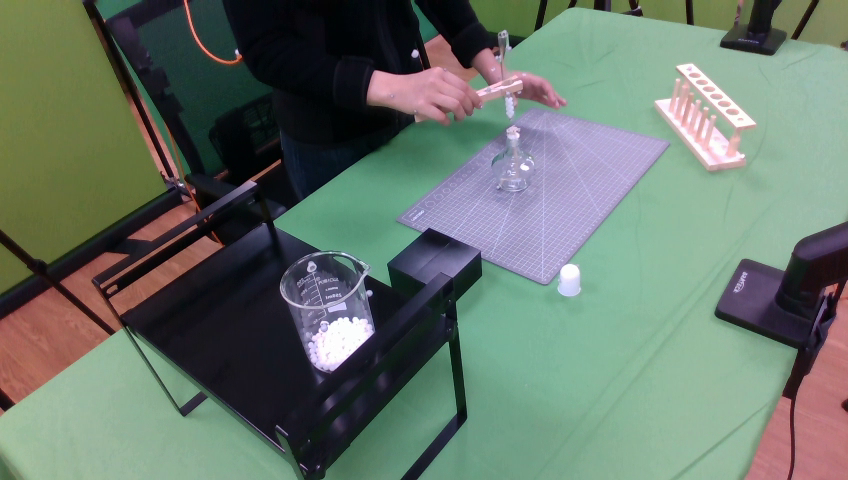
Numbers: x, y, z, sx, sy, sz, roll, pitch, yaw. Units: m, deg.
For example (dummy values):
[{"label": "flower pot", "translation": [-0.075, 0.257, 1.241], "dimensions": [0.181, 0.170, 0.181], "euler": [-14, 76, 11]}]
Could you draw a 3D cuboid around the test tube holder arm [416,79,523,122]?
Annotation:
[{"label": "test tube holder arm", "translation": [0.072, -0.218, 0.943], "dimensions": [0.179, 0.015, 0.013], "euler": [-20, 43, -7]}]

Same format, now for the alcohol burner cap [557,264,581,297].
[{"label": "alcohol burner cap", "translation": [0.208, 0.055, 0.866], "dimensions": [0.034, 0.048, 0.033], "euler": [-4, 41, 4]}]

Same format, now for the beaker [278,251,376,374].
[{"label": "beaker", "translation": [-0.084, 0.070, 0.570], "dimensions": [0.084, 0.101, 0.073], "euler": [-18, 42, -13]}]

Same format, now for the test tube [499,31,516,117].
[{"label": "test tube", "translation": [0.131, -0.255, 0.944], "dimensions": [0.017, 0.151, 0.017], "euler": [-7, 47, 8]}]

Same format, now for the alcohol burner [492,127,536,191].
[{"label": "alcohol burner", "translation": [0.156, -0.146, 1.046], "dimensions": [0.078, 0.119, 0.077], "euler": [-4, 43, 4]}]

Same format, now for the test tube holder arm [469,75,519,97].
[{"label": "test tube holder arm", "translation": [0.111, -0.238, 0.955], "dimensions": [0.088, 0.015, 0.010], "euler": [-25, 45, -12]}]

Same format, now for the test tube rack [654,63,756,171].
[{"label": "test tube rack", "translation": [0.510, -0.233, 1.120], "dimensions": [0.067, 0.085, 0.241], "euler": [-8, 41, -1]}]
